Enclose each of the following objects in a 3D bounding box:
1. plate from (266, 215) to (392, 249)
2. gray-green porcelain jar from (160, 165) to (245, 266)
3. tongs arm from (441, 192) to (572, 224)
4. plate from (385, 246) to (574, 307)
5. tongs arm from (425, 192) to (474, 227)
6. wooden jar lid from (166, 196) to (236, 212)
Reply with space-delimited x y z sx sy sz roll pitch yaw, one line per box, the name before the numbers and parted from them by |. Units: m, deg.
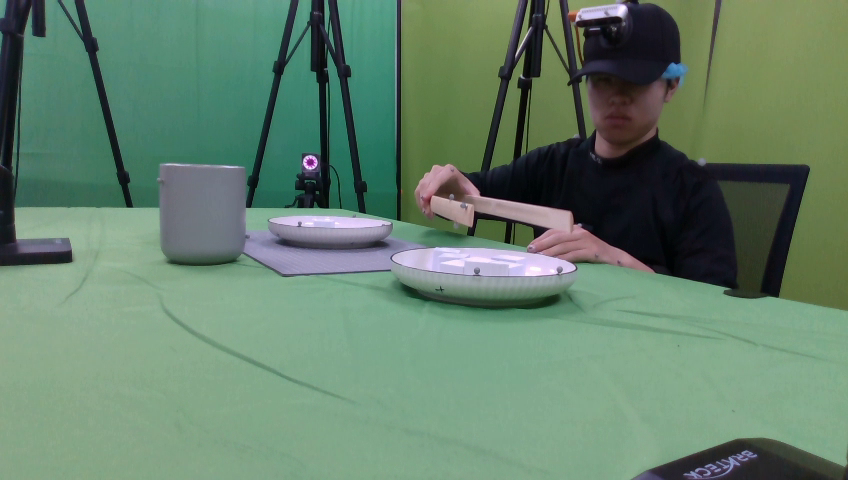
plate | -0.159 -0.015 1.019 0.209 0.038 0.209 3 7 0
gray-green porcelain jar | -0.291 -0.034 0.799 0.106 0.126 0.106 2 8 0
tongs arm | 0.103 -0.050 0.865 0.028 0.028 0.386 -8 9 -17
plate | 0.060 0.041 0.678 0.208 0.039 0.207 3 7 0
tongs arm | 0.040 -0.048 0.851 0.051 0.026 0.384 -4 7 -10
wooden jar lid | -0.369 -0.060 1.001 0.108 0.020 0.108 3 6 0
